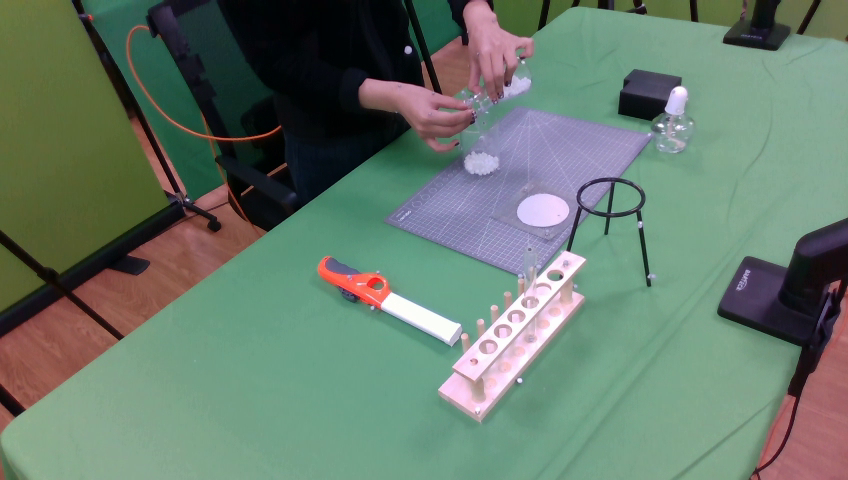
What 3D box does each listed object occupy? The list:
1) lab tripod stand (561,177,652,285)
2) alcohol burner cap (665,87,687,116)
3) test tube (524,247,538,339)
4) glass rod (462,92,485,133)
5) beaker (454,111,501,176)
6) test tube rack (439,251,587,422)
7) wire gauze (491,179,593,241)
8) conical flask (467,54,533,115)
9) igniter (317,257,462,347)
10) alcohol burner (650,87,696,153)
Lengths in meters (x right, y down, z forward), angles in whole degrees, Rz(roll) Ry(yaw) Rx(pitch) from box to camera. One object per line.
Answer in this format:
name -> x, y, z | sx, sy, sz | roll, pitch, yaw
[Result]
lab tripod stand -> 0.263, -0.014, 0.864 | 0.148, 0.132, 0.147 | -7, 38, 6
alcohol burner cap -> 0.445, -0.244, 1.060 | 0.034, 0.048, 0.033 | -2, 45, 3
test tube -> 0.133, 0.070, 0.749 | 0.017, 0.151, 0.017 | -5, 38, 4
glass rod -> 0.087, -0.214, 1.030 | 0.008, 0.200, 0.008 | -2, 82, 14
beaker -> 0.101, -0.174, 1.106 | 0.084, 0.101, 0.073 | -5, 40, 6
test tube rack -> 0.118, 0.111, 0.780 | 0.066, 0.085, 0.243 | 26, 51, 34
wire gauze -> 0.198, -0.051, 1.014 | 0.125, 0.011, 0.120 | -38, 48, -27
conical flask -> 0.128, -0.266, 1.062 | 0.122, 0.076, 0.074 | -41, 49, -24
igniter -> -0.061, 0.086, 0.891 | 0.274, 0.025, 0.057 | 23, 59, 33
alcohol burner -> 0.448, -0.217, 1.084 | 0.078, 0.119, 0.077 | -6, 38, 5
